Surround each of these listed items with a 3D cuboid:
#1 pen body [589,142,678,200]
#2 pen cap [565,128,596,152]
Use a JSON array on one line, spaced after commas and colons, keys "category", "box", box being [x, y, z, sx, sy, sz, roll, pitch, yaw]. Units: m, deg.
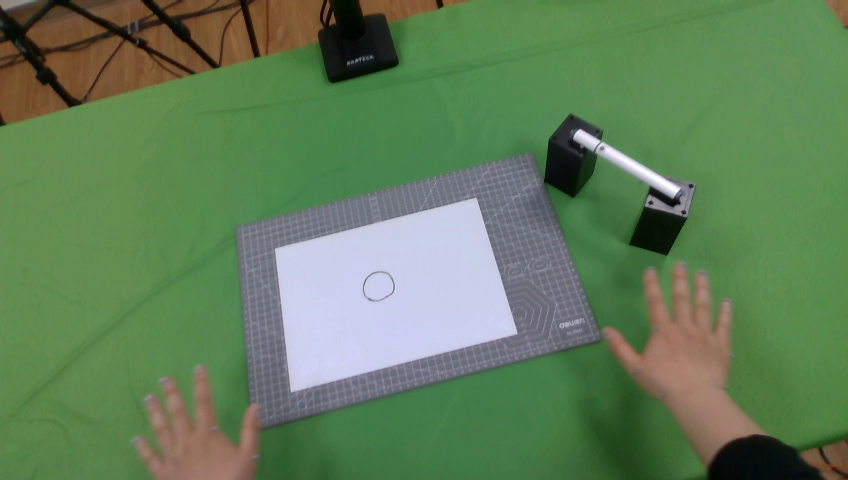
[{"category": "pen body", "box": [0.244, -0.092, 0.744, 0.143, 0.017, 0.017, 36, 73, 22]}, {"category": "pen cap", "box": [0.197, -0.128, 0.767, 0.038, 0.017, 0.017, 35, 72, 23]}]
